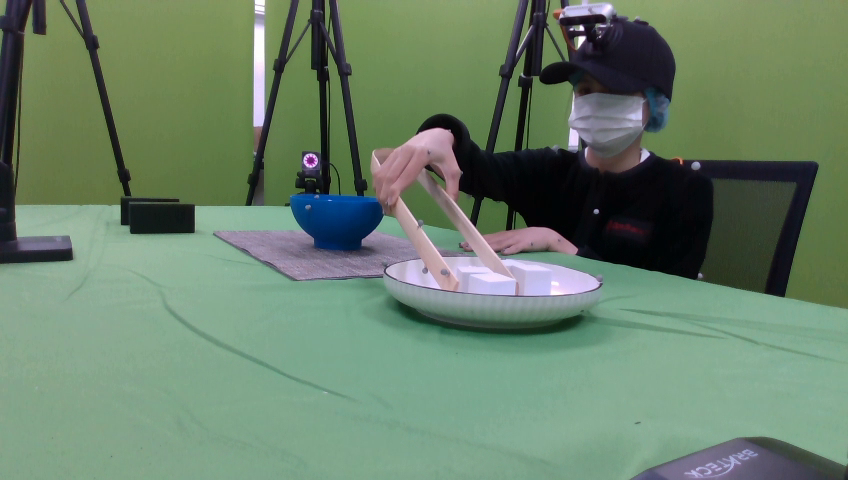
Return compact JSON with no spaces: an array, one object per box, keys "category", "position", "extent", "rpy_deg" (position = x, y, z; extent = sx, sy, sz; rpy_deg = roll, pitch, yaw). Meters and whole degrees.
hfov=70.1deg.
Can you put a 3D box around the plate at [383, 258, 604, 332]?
[{"category":"plate","position":[0.064,0.052,0.582],"extent":[0.209,0.038,0.209],"rpy_deg":[3,7,0]}]

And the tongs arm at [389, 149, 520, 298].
[{"category":"tongs arm","position":[0.023,-0.035,0.718],"extent":[0.028,0.028,0.386],"rpy_deg":[-5,28,-18]}]

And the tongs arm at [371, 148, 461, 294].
[{"category":"tongs arm","position":[-0.012,-0.035,0.706],"extent":[0.051,0.026,0.383],"rpy_deg":[-1,27,-20]}]

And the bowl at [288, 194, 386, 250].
[{"category":"bowl","position":[-0.135,-0.027,0.936],"extent":[0.151,0.077,0.151],"rpy_deg":[3,7,0]}]
